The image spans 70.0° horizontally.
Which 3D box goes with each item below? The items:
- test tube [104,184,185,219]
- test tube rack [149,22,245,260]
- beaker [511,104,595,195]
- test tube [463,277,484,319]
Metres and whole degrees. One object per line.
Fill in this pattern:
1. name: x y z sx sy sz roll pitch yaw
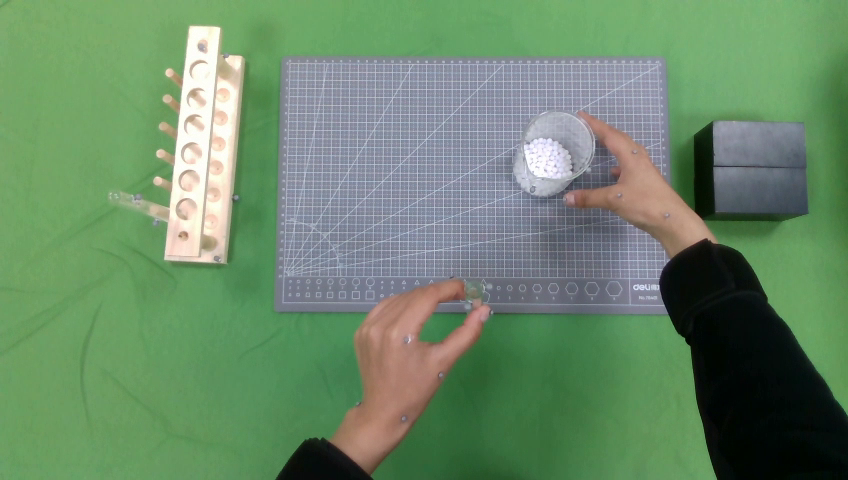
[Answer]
1. test tube: -0.277 -0.036 0.609 0.017 0.151 0.017 0 84 1
2. test tube rack: -0.251 -0.104 0.661 0.067 0.085 0.241 3 84 1
3. beaker: 0.132 -0.089 0.648 0.074 0.100 0.084 40 86 6
4. test tube: 0.043 0.054 0.536 0.017 0.151 0.017 -1 75 4
